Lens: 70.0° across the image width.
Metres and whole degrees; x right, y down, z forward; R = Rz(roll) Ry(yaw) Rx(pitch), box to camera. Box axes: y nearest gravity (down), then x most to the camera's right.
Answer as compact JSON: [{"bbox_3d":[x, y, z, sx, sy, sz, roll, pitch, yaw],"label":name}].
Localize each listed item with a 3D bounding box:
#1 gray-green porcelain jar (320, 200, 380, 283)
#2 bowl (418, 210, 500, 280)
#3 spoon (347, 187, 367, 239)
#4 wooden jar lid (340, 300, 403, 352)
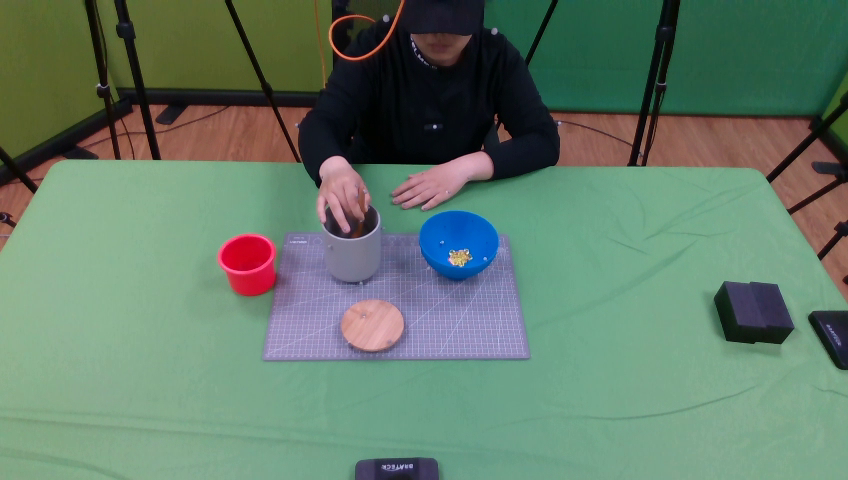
[{"bbox_3d":[-0.132,0.007,1.106,0.106,0.127,0.105,2,46,-2],"label":"gray-green porcelain jar"},{"bbox_3d":[0.062,0.022,1.140,0.151,0.077,0.150,2,46,-2],"label":"bowl"},{"bbox_3d":[-0.118,-0.029,1.083,0.022,0.194,0.041,-6,54,-24],"label":"spoon"},{"bbox_3d":[-0.090,0.150,1.046,0.108,0.021,0.107,3,47,-3],"label":"wooden jar lid"}]
